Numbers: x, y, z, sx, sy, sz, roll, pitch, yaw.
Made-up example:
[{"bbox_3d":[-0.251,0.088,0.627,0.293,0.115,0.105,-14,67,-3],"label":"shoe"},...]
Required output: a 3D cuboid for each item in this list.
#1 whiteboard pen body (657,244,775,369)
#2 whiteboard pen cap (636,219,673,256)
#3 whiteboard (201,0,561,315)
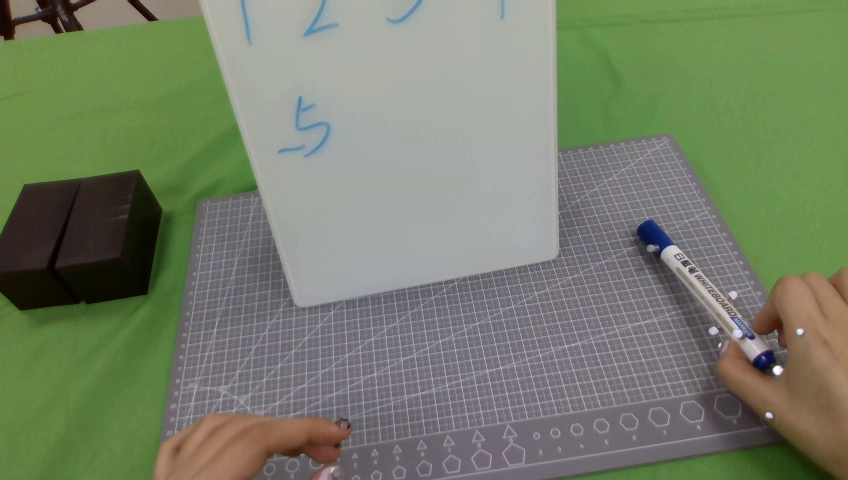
[{"bbox_3d":[0.204,0.037,0.445,0.017,0.017,0.139,-16,44,-9],"label":"whiteboard pen body"},{"bbox_3d":[0.185,-0.001,0.486,0.018,0.018,0.033,-16,46,-9],"label":"whiteboard pen cap"},{"bbox_3d":[-0.023,-0.124,0.461,0.217,0.308,0.142,-10,31,-2],"label":"whiteboard"}]
